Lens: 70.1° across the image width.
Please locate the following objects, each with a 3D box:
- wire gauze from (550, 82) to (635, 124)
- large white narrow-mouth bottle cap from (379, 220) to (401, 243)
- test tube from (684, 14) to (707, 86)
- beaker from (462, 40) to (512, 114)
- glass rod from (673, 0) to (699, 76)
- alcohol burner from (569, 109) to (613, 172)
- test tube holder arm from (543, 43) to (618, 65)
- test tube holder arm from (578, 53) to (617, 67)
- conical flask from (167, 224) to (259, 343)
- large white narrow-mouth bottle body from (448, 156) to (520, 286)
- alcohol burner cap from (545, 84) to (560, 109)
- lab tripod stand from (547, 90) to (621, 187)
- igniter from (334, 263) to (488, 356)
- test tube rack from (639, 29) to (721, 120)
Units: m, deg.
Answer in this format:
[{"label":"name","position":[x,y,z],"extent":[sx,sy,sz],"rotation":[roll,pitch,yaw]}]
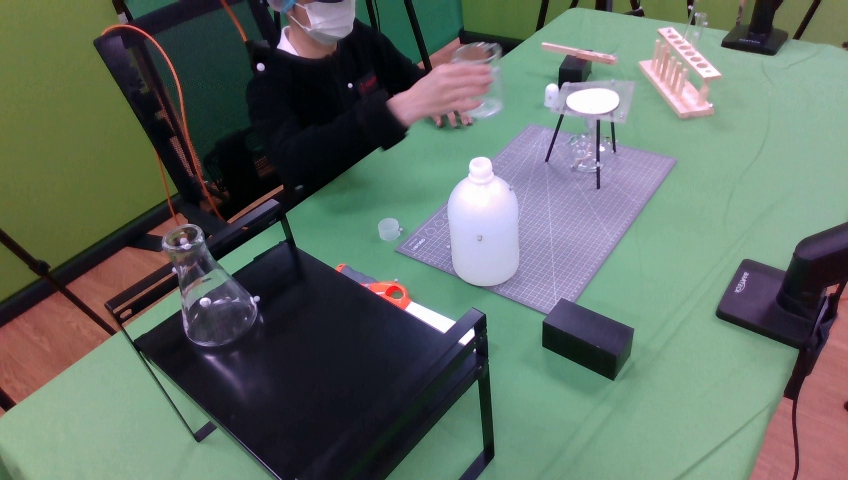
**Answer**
[{"label":"wire gauze","position":[0.285,-0.236,1.020],"extent":[0.124,0.011,0.121],"rotation":[10,44,22]},{"label":"large white narrow-mouth bottle cap","position":[-0.057,-0.015,1.011],"extent":[0.038,0.024,0.037],"rotation":[-4,40,4]},{"label":"test tube","position":[0.541,-0.379,1.216],"extent":[0.017,0.151,0.017],"rotation":[-2,44,2]},{"label":"beaker","position":[0.106,-0.263,0.979],"extent":[0.073,0.101,0.084],"rotation":[11,44,26]},{"label":"glass rod","position":[0.541,-0.427,1.246],"extent":[0.008,0.200,0.008],"rotation":[-1,48,1]},{"label":"alcohol burner","position":[0.297,-0.181,1.073],"extent":[0.078,0.119,0.077],"rotation":[-5,43,5]},{"label":"test tube holder arm","position":[0.345,-0.413,1.341],"extent":[0.177,0.015,0.013],"rotation":[25,50,31]},{"label":"test tube holder arm","position":[0.376,-0.393,1.314],"extent":[0.087,0.015,0.010],"rotation":[26,51,32]},{"label":"conical flask","position":[-0.220,0.041,0.613],"extent":[0.075,0.122,0.075],"rotation":[-5,40,4]},{"label":"large white narrow-mouth bottle body","position":[0.086,-0.032,0.869],"extent":[0.102,0.195,0.101],"rotation":[-4,40,4]},{"label":"alcohol burner cap","position":[0.274,-0.308,1.285],"extent":[0.034,0.048,0.033],"rotation":[-5,42,5]},{"label":"lab tripod stand","position":[0.289,-0.184,1.062],"extent":[0.148,0.132,0.147],"rotation":[-6,41,6]},{"label":"igniter","position":[-0.030,0.095,0.872],"extent":[0.274,0.025,0.057],"rotation":[23,59,31]},{"label":"test tube rack","position":[0.527,-0.351,1.262],"extent":[0.067,0.085,0.241],"rotation":[-8,40,1]}]
